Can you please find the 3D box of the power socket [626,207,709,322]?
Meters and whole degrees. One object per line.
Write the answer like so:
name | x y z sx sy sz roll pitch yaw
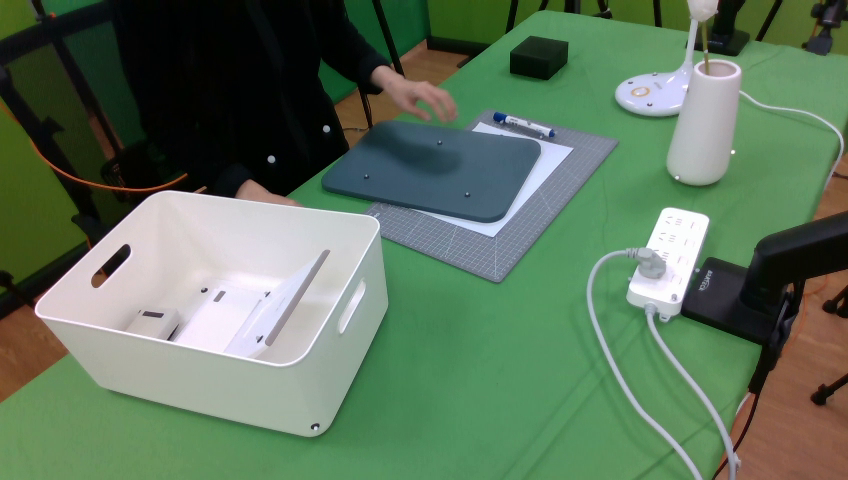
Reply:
power socket | 0.360 0.026 0.886 0.072 0.033 0.227 17 46 27

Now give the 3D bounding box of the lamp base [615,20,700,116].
lamp base | 0.484 -0.364 1.211 0.180 0.181 0.159 -15 41 -14

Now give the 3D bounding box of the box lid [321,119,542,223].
box lid | 0.017 -0.141 1.145 0.369 0.015 0.263 12 44 22

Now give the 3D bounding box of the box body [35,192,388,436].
box body | -0.251 0.088 0.799 0.362 0.161 0.254 7 42 16

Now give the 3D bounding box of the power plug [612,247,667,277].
power plug | 0.306 0.031 0.852 0.072 0.053 0.035 21 48 37

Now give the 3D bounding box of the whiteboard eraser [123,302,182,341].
whiteboard eraser | -0.385 0.138 0.828 0.055 0.042 0.112 11 41 7

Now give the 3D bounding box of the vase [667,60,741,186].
vase | 0.463 -0.189 0.994 0.098 0.201 0.097 -4 40 3

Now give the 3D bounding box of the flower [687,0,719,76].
flower | 0.436 -0.242 0.934 0.038 0.364 0.043 -24 49 8

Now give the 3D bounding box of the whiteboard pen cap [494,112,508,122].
whiteboard pen cap | 0.161 -0.253 1.248 0.033 0.018 0.018 27 51 36

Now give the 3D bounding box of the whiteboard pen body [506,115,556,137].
whiteboard pen body | 0.203 -0.232 1.213 0.139 0.017 0.017 28 51 36

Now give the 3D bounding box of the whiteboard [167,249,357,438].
whiteboard | -0.242 0.100 0.799 0.304 0.144 0.217 8 43 15
